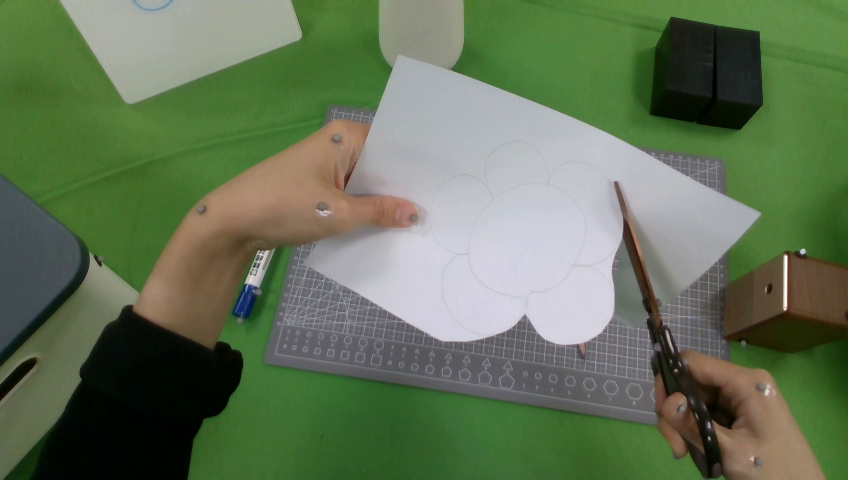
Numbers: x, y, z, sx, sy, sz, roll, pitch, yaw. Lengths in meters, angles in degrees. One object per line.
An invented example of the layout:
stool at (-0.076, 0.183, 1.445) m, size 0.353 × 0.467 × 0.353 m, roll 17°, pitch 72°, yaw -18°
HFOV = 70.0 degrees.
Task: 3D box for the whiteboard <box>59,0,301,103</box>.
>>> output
whiteboard at (-0.292, -0.341, 0.628) m, size 0.217 × 0.308 × 0.142 m, roll -24°, pitch 52°, yaw -9°

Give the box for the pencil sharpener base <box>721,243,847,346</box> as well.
pencil sharpener base at (0.339, 0.055, 0.565) m, size 0.077 × 0.107 × 0.061 m, roll 13°, pitch 69°, yaw 0°

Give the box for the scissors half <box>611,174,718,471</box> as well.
scissors half at (0.134, 0.046, 0.341) m, size 0.013 × 0.040 × 0.175 m, roll -18°, pitch 87°, yaw 4°

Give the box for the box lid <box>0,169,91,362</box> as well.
box lid at (-0.469, 0.005, 0.459) m, size 0.370 × 0.015 × 0.262 m, roll 34°, pitch 72°, yaw 11°

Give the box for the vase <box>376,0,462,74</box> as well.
vase at (-0.006, -0.265, 0.630) m, size 0.098 × 0.201 × 0.097 m, roll 0°, pitch 68°, yaw 0°

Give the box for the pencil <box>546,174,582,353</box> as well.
pencil at (0.145, 0.021, 0.625) m, size 0.012 × 0.012 × 0.192 m, roll -5°, pitch 72°, yaw -2°

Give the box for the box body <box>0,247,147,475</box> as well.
box body at (-0.469, 0.033, 0.528) m, size 0.362 × 0.161 × 0.253 m, roll 34°, pitch 73°, yaw 11°

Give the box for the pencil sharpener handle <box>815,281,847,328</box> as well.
pencil sharpener handle at (0.390, 0.063, 0.552) m, size 0.030 × 0.068 × 0.035 m, roll 13°, pitch 63°, yaw 1°

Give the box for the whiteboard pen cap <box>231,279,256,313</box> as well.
whiteboard pen cap at (-0.177, 0.055, 0.600) m, size 0.018 × 0.018 × 0.033 m, roll 14°, pitch 65°, yaw 5°

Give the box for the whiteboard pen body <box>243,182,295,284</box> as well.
whiteboard pen body at (-0.163, 0.002, 0.622) m, size 0.017 × 0.017 × 0.140 m, roll 15°, pitch 68°, yaw 5°

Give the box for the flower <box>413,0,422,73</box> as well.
flower at (-0.011, -0.308, 0.557) m, size 0.044 × 0.365 × 0.038 m, roll 2°, pitch 51°, yaw 3°

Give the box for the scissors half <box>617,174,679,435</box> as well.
scissors half at (0.135, 0.042, 0.362) m, size 0.013 × 0.040 × 0.176 m, roll -17°, pitch 111°, yaw 9°
